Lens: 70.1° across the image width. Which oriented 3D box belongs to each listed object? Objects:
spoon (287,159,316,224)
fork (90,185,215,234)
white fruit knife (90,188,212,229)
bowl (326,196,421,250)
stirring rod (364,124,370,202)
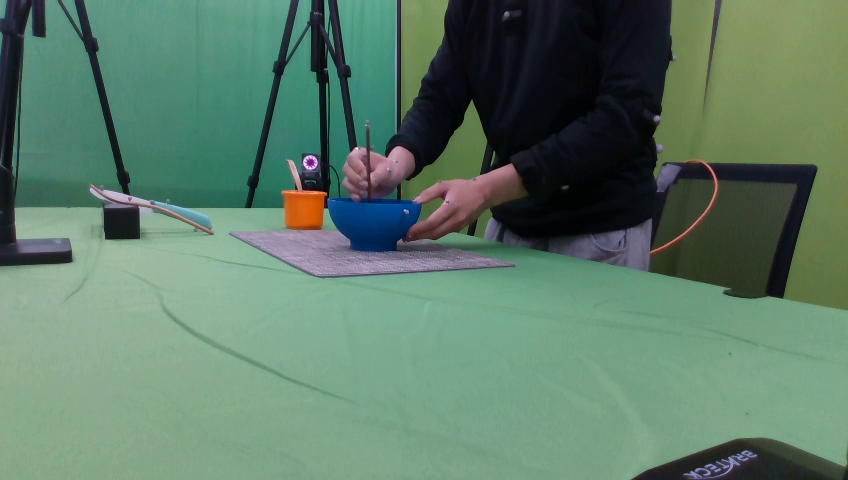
[{"bbox_3d":[-0.261,-0.104,1.263,0.042,0.193,0.021,0,-37,-28],"label":"spoon"},{"bbox_3d":[-0.452,-0.049,1.018,0.208,0.018,0.028,21,-7,-33],"label":"fork"},{"bbox_3d":[-0.478,-0.058,1.073,0.208,0.027,0.016,17,-4,-30],"label":"white fruit knife"},{"bbox_3d":[-0.080,-0.027,0.958,0.151,0.077,0.151,2,7,0],"label":"bowl"},{"bbox_3d":[-0.085,-0.087,0.906,0.006,0.176,0.014,-6,25,-15],"label":"stirring rod"}]
